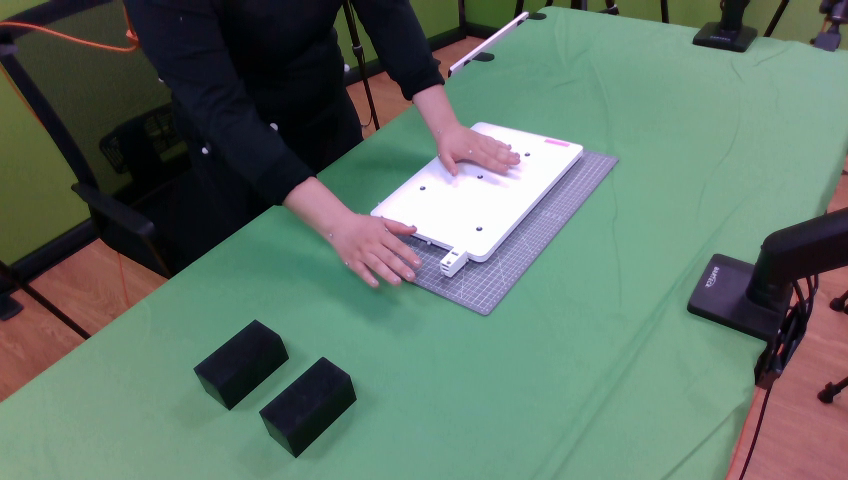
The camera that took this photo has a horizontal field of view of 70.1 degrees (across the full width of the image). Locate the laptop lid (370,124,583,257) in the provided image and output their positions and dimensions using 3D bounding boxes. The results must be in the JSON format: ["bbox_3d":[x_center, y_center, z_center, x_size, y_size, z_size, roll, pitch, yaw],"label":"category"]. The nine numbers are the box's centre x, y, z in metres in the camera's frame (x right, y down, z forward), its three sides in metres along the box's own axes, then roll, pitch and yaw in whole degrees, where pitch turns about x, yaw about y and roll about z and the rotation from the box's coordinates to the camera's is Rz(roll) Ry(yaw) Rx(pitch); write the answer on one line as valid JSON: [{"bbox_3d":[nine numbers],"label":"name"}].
[{"bbox_3d":[0.099,-0.106,1.064,0.240,0.013,0.358,22,48,33],"label":"laptop lid"}]

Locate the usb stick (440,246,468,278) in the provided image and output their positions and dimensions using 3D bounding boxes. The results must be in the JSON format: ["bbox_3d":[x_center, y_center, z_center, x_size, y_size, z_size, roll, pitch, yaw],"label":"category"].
[{"bbox_3d":[0.050,0.029,0.912,0.021,0.027,0.059,26,49,29],"label":"usb stick"}]

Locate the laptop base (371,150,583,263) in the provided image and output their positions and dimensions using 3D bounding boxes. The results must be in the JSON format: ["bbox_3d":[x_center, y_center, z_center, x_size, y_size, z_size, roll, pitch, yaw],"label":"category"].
[{"bbox_3d":[0.102,-0.096,1.071,0.233,0.023,0.355,19,47,32],"label":"laptop base"}]
